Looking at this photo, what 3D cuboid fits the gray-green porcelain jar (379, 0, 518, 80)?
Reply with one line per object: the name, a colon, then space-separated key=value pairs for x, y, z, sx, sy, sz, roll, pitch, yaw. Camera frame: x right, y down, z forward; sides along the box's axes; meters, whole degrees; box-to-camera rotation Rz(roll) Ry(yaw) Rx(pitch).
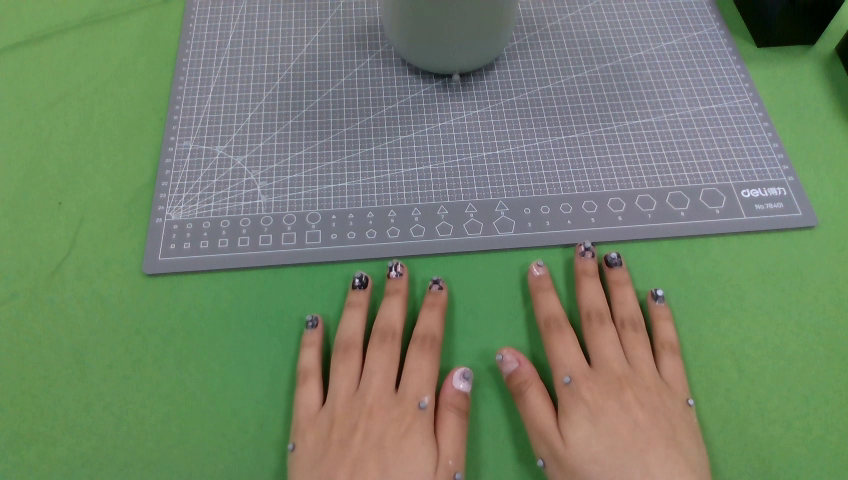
gray-green porcelain jar: x=0.018 y=-0.191 z=0.443 sx=0.106 sy=0.127 sz=0.105 roll=1 pitch=59 yaw=0
